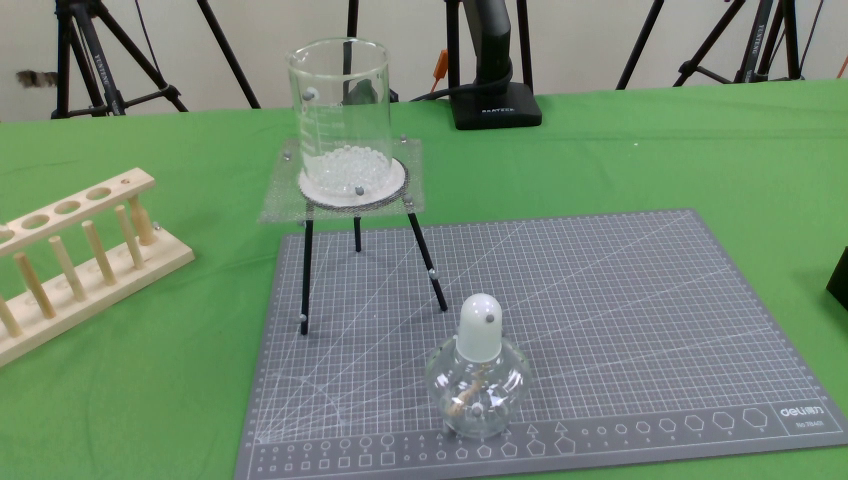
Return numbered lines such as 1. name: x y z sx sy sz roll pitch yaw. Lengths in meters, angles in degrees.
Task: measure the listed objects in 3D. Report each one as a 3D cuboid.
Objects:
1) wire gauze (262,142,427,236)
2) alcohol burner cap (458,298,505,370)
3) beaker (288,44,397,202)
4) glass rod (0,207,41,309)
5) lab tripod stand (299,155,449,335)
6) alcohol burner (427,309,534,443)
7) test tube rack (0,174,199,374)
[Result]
1. wire gauze: -0.059 -0.047 0.486 0.121 0.011 0.124 -2 40 -1
2. alcohol burner cap: 0.040 0.060 0.408 0.034 0.048 0.033 1 39 0
3. beaker: -0.061 -0.087 0.458 0.083 0.101 0.074 22 43 25
4. glass rod: -0.361 -0.024 0.512 0.008 0.201 0.008 -1 30 1
5. lab tripod stand: -0.049 0.004 0.528 0.148 0.132 0.147 0 36 0
6. alcohol burner: 0.040 0.089 0.430 0.078 0.120 0.077 -1 40 1
7. test tube rack: -0.337 0.035 0.543 0.066 0.086 0.242 27 46 33
